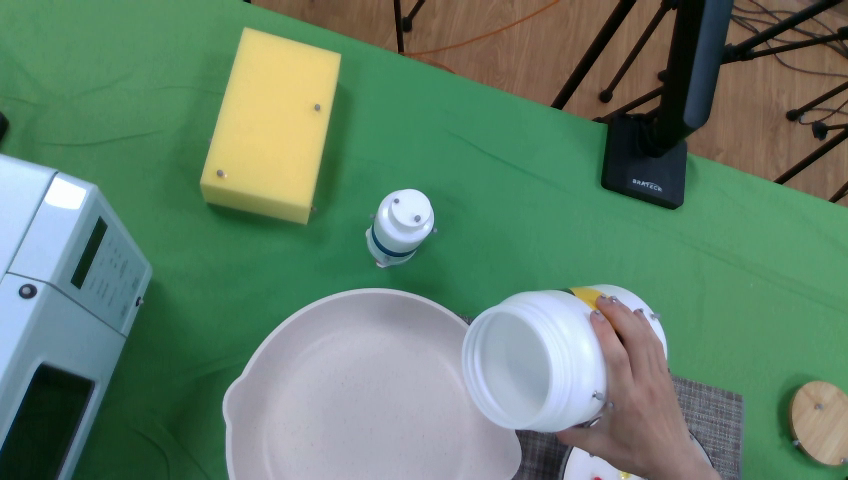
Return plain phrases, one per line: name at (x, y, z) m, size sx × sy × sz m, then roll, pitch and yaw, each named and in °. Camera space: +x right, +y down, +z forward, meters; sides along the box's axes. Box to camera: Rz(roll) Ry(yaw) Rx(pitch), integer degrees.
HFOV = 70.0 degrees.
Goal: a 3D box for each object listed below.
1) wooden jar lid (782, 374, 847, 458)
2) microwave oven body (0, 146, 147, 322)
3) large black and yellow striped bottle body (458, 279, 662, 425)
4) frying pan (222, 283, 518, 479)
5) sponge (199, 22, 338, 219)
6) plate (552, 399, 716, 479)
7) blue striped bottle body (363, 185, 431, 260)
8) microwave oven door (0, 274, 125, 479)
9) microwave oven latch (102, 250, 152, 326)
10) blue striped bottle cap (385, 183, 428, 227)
wooden jar lid at (0.525, 0.234, 0.810) m, size 0.109 × 0.021 × 0.108 m, roll 4°, pitch 74°, yaw -13°
microwave oven body at (-0.464, 0.137, 0.449) m, size 0.327 × 0.260 × 0.439 m, roll 17°, pitch 71°, yaw -9°
large black and yellow striped bottle body at (0.135, 0.108, 0.600) m, size 0.185 × 0.130 × 0.130 m, roll -1°, pitch 71°, yaw -43°
frying pan at (-0.073, 0.283, 0.592) m, size 0.307 × 0.103 × 0.484 m, roll 16°, pitch 62°, yaw -7°
sponge at (-0.179, -0.141, 0.718) m, size 0.118 × 0.061 × 0.205 m, roll 11°, pitch 71°, yaw -10°
plate at (0.242, 0.293, 0.706) m, size 0.210 × 0.038 × 0.208 m, roll 4°, pitch 73°, yaw -13°
blue striped bottle body at (-0.030, -0.021, 0.689) m, size 0.063 × 0.121 × 0.062 m, roll 4°, pitch 73°, yaw -13°
microwave oven door at (-0.334, 0.217, 0.454) m, size 0.039 × 0.244 × 0.354 m, roll 16°, pitch 70°, yaw -8°
microwave oven latch at (-0.307, 0.046, 0.621) m, size 0.030 × 0.029 × 0.078 m, roll 19°, pitch 70°, yaw -8°
blue striped bottle cap at (-0.019, -0.037, 0.641) m, size 0.045 × 0.020 × 0.044 m, roll 4°, pitch 74°, yaw -13°
